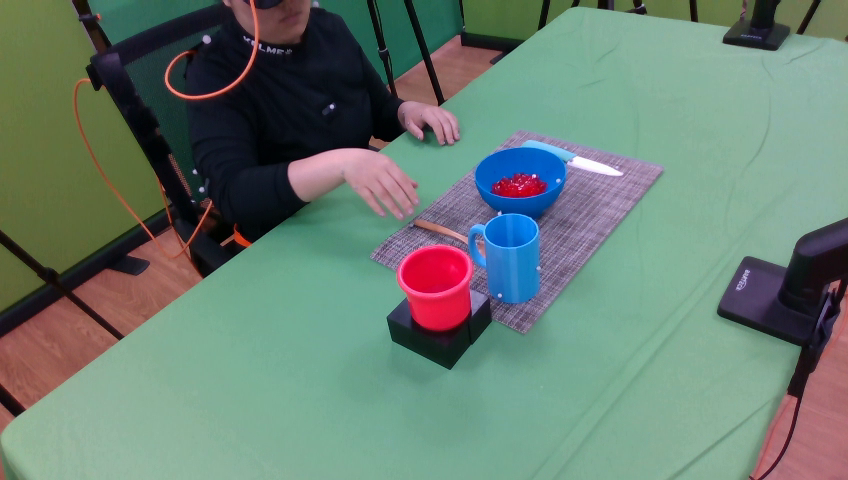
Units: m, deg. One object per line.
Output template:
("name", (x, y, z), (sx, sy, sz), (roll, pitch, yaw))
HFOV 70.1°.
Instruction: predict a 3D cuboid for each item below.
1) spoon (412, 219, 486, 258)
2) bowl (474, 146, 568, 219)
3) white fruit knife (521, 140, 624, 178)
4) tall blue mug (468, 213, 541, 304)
("spoon", (0.054, -0.005, 0.971), (0.192, 0.022, 0.041), (24, 67, 33))
("bowl", (0.161, -0.083, 1.001), (0.151, 0.077, 0.150), (-5, 40, 5))
("white fruit knife", (0.270, -0.149, 1.110), (0.206, 0.016, 0.027), (25, 80, 32))
("tall blue mug", (0.111, 0.026, 0.856), (0.107, 0.108, 0.077), (2, 42, 13))
